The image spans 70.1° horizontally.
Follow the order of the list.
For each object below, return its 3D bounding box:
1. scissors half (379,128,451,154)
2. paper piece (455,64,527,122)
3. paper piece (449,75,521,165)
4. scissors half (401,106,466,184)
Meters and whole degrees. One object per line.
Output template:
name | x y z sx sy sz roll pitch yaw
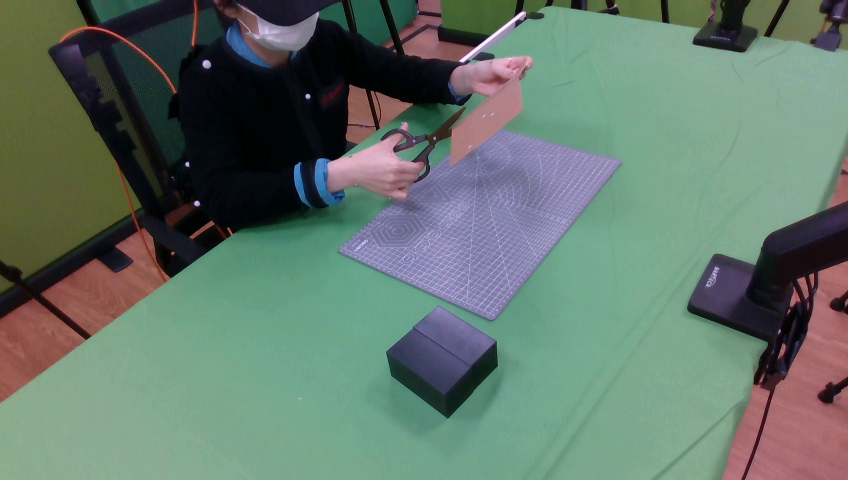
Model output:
scissors half | 0.003 -0.176 0.998 0.174 0.040 0.013 -8 30 20
paper piece | 0.112 -0.245 1.014 0.135 0.008 0.138 -32 9 26
paper piece | 0.088 -0.182 0.901 0.135 0.004 0.135 -35 26 26
scissors half | 0.018 -0.157 1.005 0.040 0.175 0.013 36 32 -4
